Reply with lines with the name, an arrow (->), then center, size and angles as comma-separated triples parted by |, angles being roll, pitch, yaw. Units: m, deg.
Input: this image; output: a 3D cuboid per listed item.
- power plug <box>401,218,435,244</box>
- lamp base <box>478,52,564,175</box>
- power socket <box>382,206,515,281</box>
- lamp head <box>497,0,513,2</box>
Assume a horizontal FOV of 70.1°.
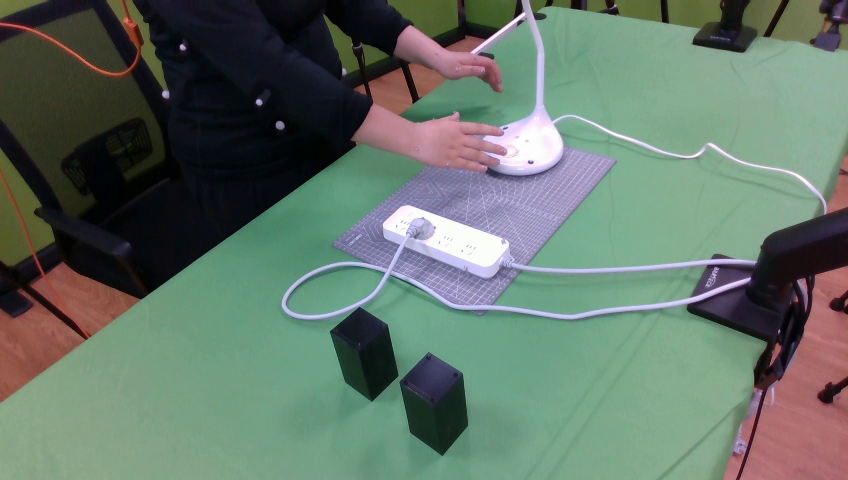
power plug -> -0.014, -0.006, 0.937 | 0.073, 0.053, 0.035 | -37, 47, -26
lamp base -> 0.181, -0.236, 1.095 | 0.159, 0.181, 0.179 | 20, 44, 28
power socket -> 0.032, 0.002, 0.950 | 0.225, 0.033, 0.072 | 21, 49, 29
lamp head -> 0.120, -0.420, 0.861 | 0.111, 0.113, 0.123 | 24, 72, 32
